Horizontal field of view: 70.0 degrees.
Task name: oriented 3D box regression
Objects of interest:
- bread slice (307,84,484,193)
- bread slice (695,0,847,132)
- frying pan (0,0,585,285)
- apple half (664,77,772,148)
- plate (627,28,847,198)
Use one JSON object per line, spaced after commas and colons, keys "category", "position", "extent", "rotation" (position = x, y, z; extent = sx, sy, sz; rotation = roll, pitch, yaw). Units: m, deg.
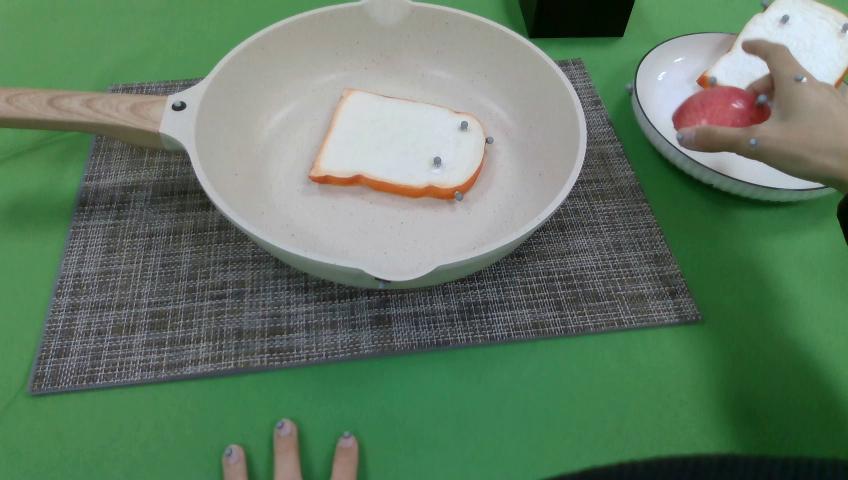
{"category": "bread slice", "position": [-0.018, -0.084, 0.505], "extent": [0.134, 0.018, 0.106], "rotation": [8, 54, 3]}
{"category": "bread slice", "position": [0.335, -0.175, 0.564], "extent": [0.104, 0.019, 0.131], "rotation": [37, 80, 20]}
{"category": "frying pan", "position": [-0.129, -0.090, 0.456], "extent": [0.489, 0.103, 0.303], "rotation": [4, 52, -10]}
{"category": "apple half", "position": [0.220, -0.101, 0.448], "extent": [0.081, 0.033, 0.080], "rotation": [3, 38, -2]}
{"category": "plate", "position": [0.283, -0.112, 0.541], "extent": [0.208, 0.039, 0.205], "rotation": [2, 53, -2]}
